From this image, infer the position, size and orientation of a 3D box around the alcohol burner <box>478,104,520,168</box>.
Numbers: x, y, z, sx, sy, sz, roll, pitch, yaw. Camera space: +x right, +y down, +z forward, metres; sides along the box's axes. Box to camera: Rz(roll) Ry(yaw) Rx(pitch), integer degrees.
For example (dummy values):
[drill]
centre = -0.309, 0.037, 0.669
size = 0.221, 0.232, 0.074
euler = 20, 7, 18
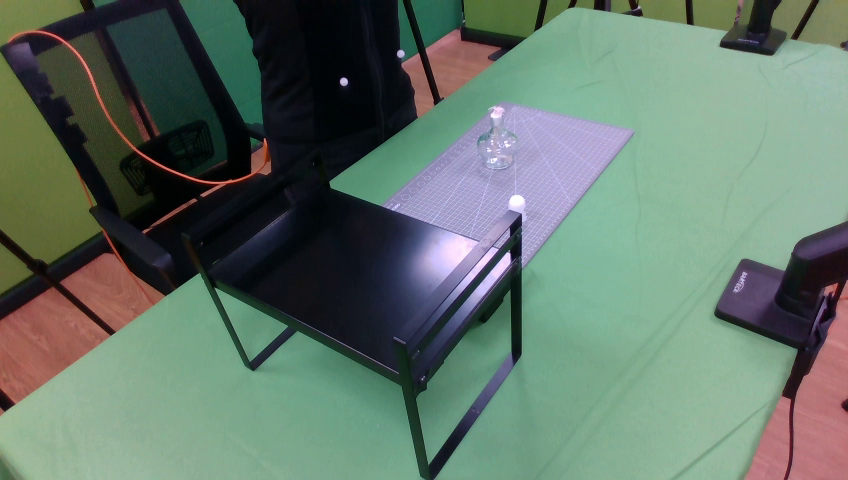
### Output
[alcohol burner]
centre = 0.137, -0.193, 1.106
size = 0.078, 0.119, 0.077
euler = -5, 39, 4

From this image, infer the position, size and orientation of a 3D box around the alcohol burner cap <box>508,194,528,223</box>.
[alcohol burner cap]
centre = 0.155, -0.054, 0.996
size = 0.034, 0.048, 0.033
euler = -4, 39, 4
